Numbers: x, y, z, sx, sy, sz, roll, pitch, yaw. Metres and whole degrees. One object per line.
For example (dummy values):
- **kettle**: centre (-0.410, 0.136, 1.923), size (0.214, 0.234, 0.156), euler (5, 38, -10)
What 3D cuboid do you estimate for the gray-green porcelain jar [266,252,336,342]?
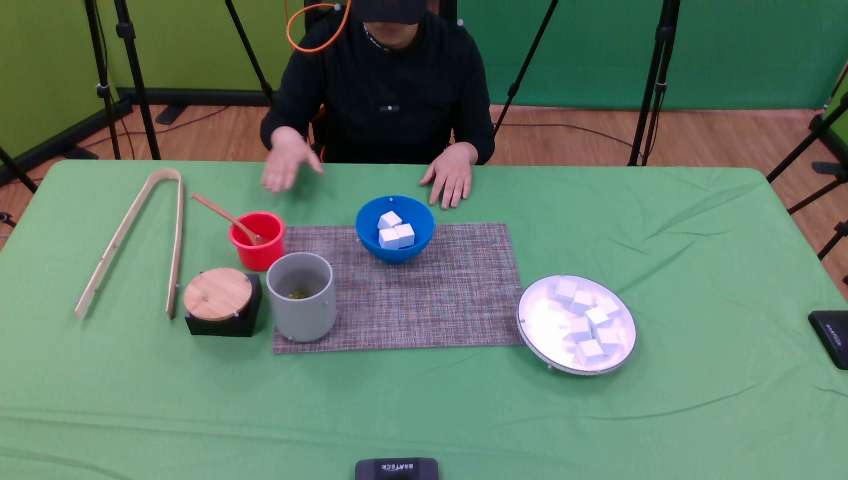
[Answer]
- **gray-green porcelain jar**: centre (-0.202, 0.100, 1.009), size (0.106, 0.127, 0.105), euler (2, 46, -2)

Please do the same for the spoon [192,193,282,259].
- **spoon**: centre (-0.342, -0.027, 1.115), size (0.194, 0.021, 0.041), euler (43, 40, -24)

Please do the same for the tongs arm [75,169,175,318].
- **tongs arm**: centre (-0.559, -0.008, 1.155), size (0.051, 0.026, 0.382), euler (3, 45, -2)

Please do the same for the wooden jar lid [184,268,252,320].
- **wooden jar lid**: centre (-0.343, 0.092, 1.015), size (0.108, 0.021, 0.107), euler (3, 46, -3)

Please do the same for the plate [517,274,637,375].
- **plate**: centre (0.264, 0.149, 1.060), size (0.209, 0.038, 0.208), euler (3, 46, -3)

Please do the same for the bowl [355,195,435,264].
- **bowl**: centre (-0.056, -0.008, 1.158), size (0.151, 0.077, 0.150), euler (2, 46, -2)

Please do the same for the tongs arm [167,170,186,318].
- **tongs arm**: centre (-0.479, -0.007, 1.165), size (0.028, 0.028, 0.385), euler (-9, 47, -9)
